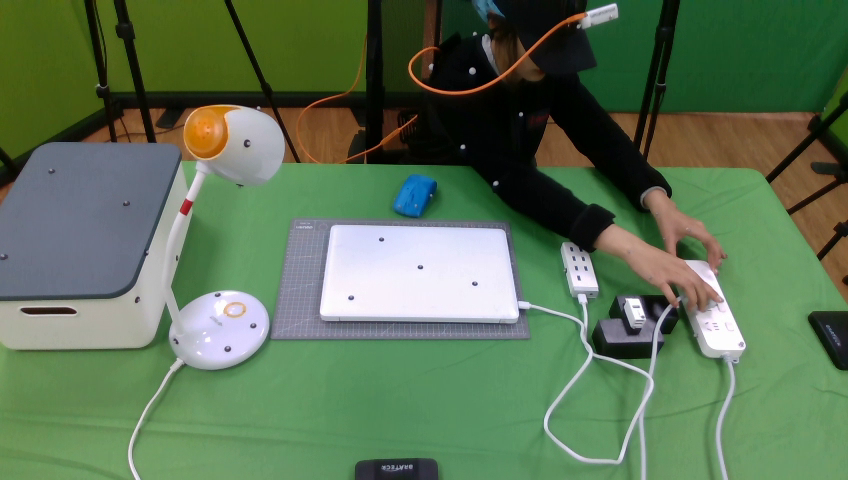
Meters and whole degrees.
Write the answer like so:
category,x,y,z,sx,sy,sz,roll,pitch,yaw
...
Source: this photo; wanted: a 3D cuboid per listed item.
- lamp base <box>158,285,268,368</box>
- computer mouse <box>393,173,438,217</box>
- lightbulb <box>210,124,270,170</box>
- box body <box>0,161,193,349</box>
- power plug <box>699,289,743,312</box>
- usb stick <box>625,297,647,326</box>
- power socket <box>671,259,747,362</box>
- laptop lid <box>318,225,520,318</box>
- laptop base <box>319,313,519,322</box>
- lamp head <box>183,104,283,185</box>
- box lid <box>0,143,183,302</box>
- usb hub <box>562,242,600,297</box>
category,x,y,z,sx,sy,sz,roll,pitch,yaw
lamp base,-0.347,0.102,0.963,0.160,0.181,0.178,24,51,18
computer mouse,-0.018,-0.098,1.282,0.062,0.041,0.117,20,52,13
lightbulb,-0.259,-0.135,0.847,0.059,0.108,0.059,-4,79,19
box body,-0.570,0.006,1.054,0.254,0.161,0.361,-1,46,-4
power plug,0.516,0.116,1.062,0.035,0.053,0.072,-25,40,-7
usb stick,0.360,0.117,1.034,0.021,0.027,0.059,-1,44,-3
power socket,0.516,0.119,1.107,0.072,0.033,0.225,0,46,-2
laptop lid,-0.008,0.053,1.130,0.357,0.013,0.240,2,43,-2
laptop base,-0.009,0.063,1.137,0.354,0.023,0.234,1,42,-3
lamp head,-0.270,-0.133,0.825,0.112,0.112,0.123,20,8,15
box lid,-0.567,-0.045,0.999,0.263,0.015,0.369,-1,46,-4
usb hub,0.300,0.055,1.162,0.049,0.025,0.124,3,45,-3
